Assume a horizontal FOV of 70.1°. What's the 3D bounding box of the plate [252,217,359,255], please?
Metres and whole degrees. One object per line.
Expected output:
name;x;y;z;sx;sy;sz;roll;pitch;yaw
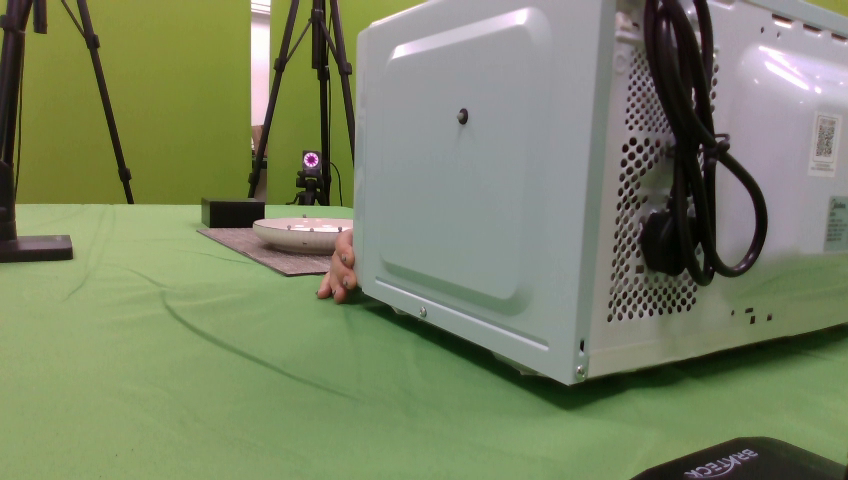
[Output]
plate;-0.155;-0.007;0.923;0.209;0.038;0.209;3;7;0

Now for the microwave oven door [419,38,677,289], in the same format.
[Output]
microwave oven door;0.159;-0.078;0.684;0.358;0.243;0.039;-2;9;-32

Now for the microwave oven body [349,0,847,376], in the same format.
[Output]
microwave oven body;0.199;-0.053;0.539;0.444;0.260;0.324;-1;7;-32

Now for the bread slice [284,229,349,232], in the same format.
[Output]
bread slice;-0.153;-0.004;0.921;0.132;0.019;0.104;0;7;-30

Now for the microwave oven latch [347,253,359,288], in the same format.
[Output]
microwave oven latch;-0.034;0.028;0.579;0.079;0.029;0.030;-1;7;-29
